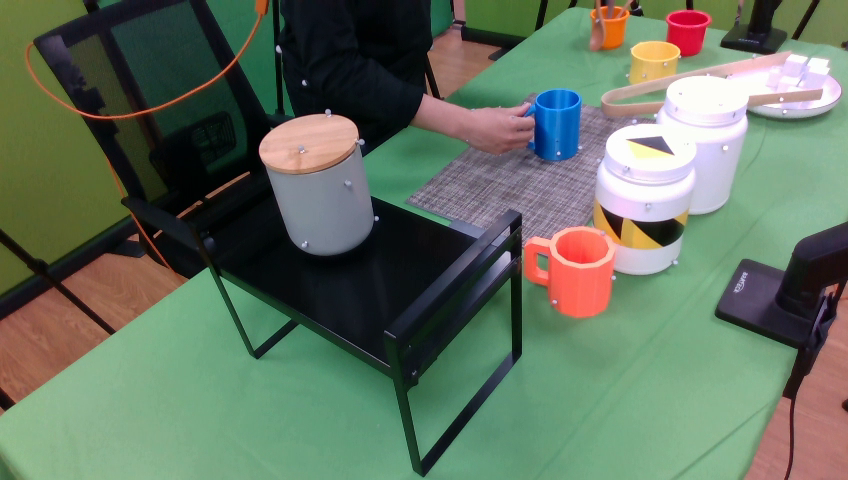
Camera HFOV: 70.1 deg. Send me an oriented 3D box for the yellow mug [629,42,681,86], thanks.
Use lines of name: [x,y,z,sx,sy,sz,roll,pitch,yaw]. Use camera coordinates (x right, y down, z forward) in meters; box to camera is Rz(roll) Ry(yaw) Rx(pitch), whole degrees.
yellow mug: [0.495,-0.389,1.322,0.100,0.064,0.130,-14,40,-6]

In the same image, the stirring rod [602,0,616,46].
stirring rod: [0.452,-0.554,1.464,0.014,0.006,0.176,11,86,15]

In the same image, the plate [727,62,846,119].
plate: [0.709,-0.292,1.197,0.207,0.039,0.206,-4,40,4]

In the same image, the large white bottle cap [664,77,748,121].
large white bottle cap: [0.421,-0.212,0.905,0.115,0.018,0.114,-4,40,4]

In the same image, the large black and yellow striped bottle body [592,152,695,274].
large black and yellow striped bottle body: [0.313,-0.056,0.872,0.131,0.185,0.130,-4,41,4]

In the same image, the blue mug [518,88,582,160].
blue mug: [0.232,-0.213,1.121,0.116,0.106,0.082,-7,41,2]

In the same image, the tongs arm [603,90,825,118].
tongs arm: [0.546,-0.262,1.163,0.386,0.028,0.028,-1,49,18]

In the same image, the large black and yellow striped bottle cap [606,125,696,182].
large black and yellow striped bottle cap: [0.305,-0.119,0.816,0.115,0.019,0.114,-5,41,5]

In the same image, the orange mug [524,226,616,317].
orange mug: [0.201,0.039,0.845,0.125,0.101,0.083,18,46,21]

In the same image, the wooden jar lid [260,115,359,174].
wooden jar lid: [-0.124,-0.101,0.662,0.108,0.021,0.108,-4,41,4]

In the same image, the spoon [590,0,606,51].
spoon: [0.329,-0.452,1.126,0.022,0.194,0.041,-15,31,-14]

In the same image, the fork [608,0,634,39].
fork: [0.484,-0.552,1.447,0.207,0.019,0.028,-51,46,17]

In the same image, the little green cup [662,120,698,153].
little green cup: [0.469,-0.191,1.116,0.061,0.039,0.061,-5,40,4]

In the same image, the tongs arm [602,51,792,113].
tongs arm: [0.552,-0.320,1.224,0.384,0.027,0.050,-10,43,7]

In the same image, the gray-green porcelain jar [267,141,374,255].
gray-green porcelain jar: [-0.117,-0.054,0.703,0.106,0.127,0.105,-4,40,4]

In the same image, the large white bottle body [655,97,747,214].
large white bottle body: [0.431,-0.148,0.959,0.130,0.185,0.130,-4,41,4]
